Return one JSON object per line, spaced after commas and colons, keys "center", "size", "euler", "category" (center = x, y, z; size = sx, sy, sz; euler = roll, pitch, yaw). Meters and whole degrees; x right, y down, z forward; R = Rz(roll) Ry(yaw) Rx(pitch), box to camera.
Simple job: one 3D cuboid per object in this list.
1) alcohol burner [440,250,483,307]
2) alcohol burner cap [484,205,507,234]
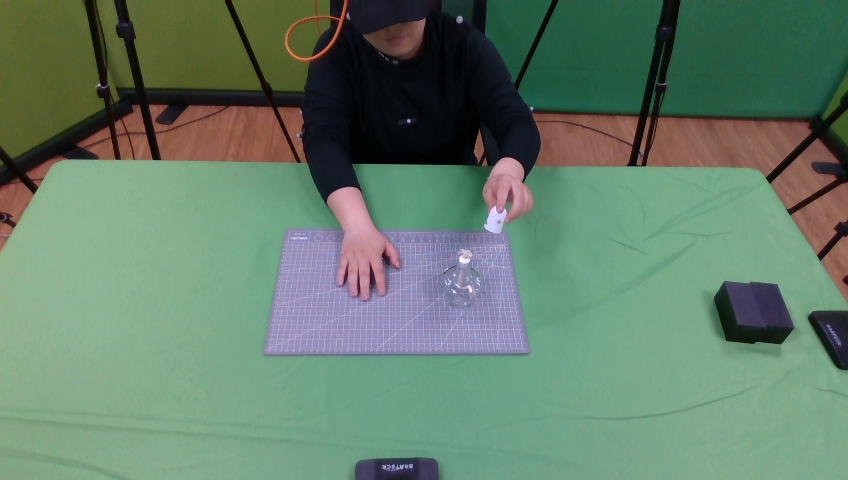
{"center": [0.068, 0.064, 1.076], "size": [0.078, 0.120, 0.077], "euler": [1, 45, -1], "category": "alcohol burner"}
{"center": [0.124, -0.038, 1.038], "size": [0.034, 0.048, 0.033], "euler": [12, 30, -7], "category": "alcohol burner cap"}
